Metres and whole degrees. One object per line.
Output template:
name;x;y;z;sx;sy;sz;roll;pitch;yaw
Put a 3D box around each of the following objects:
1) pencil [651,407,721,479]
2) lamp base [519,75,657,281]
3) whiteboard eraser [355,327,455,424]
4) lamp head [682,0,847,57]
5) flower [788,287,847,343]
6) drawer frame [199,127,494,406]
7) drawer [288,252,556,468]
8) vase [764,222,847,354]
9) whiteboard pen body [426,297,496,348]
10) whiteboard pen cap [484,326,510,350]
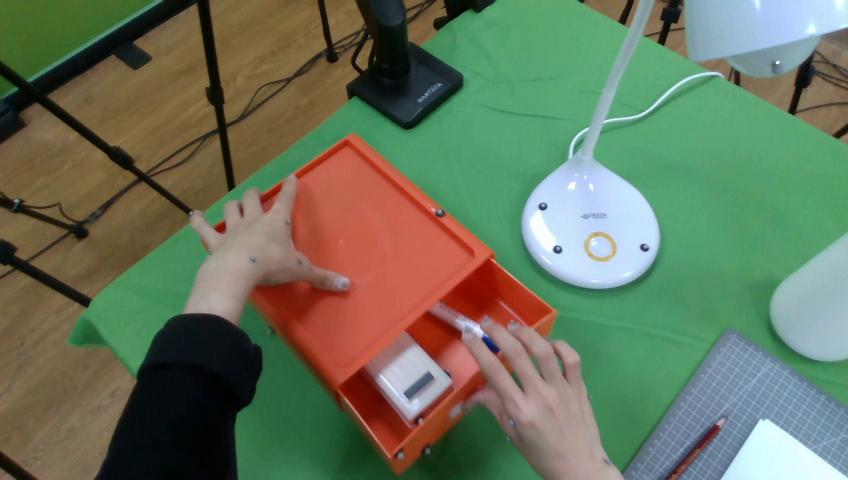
pencil;0.227;0.223;0.578;0.194;0.012;0.012;-36;65;-21
lamp base;0.188;-0.072;0.654;0.161;0.182;0.177;-12;57;-7
whiteboard eraser;-0.027;0.115;0.567;0.055;0.042;0.111;-38;60;-20
lamp head;0.215;-0.188;0.386;0.112;0.112;0.123;-19;99;-10
flower;0.427;-0.016;0.513;0.038;0.364;0.044;26;45;8
drawer frame;-0.076;0.019;0.611;0.201;0.083;0.212;-40;67;-20
drawer;-0.019;0.069;0.579;0.194;0.074;0.210;-38;63;-19
vase;0.412;0.034;0.579;0.098;0.201;0.097;-1;58;2
whiteboard pen body;0.019;0.070;0.602;0.140;0.017;0.017;32;65;22
whiteboard pen cap;0.070;0.097;0.582;0.033;0.018;0.018;29;63;26
